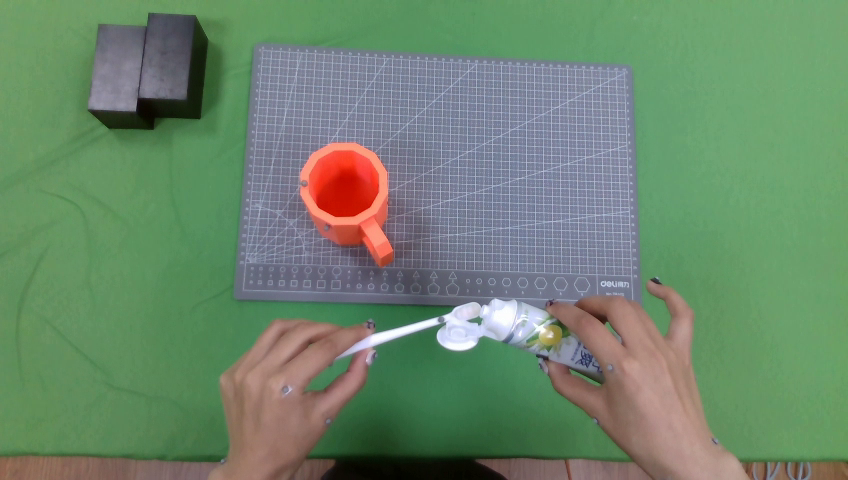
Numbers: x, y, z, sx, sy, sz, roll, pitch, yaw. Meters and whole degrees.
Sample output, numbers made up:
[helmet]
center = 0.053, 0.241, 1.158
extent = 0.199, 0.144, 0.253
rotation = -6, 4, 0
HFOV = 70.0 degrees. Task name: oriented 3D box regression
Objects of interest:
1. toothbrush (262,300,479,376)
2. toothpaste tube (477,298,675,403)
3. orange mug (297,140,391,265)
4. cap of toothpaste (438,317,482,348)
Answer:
[toothbrush]
center = -0.043, 0.079, 0.485
extent = 0.182, 0.017, 0.014
rotation = -17, 81, -1
[toothpaste tube]
center = 0.119, 0.084, 0.485
extent = 0.165, 0.034, 0.055
rotation = 19, 101, -7
[orange mug]
center = -0.074, -0.033, 0.629
extent = 0.083, 0.101, 0.125
rotation = -32, 78, -10
[cap of toothpaste]
center = 0.029, 0.071, 0.486
extent = 0.037, 0.037, 0.011
rotation = 0, 124, 0
